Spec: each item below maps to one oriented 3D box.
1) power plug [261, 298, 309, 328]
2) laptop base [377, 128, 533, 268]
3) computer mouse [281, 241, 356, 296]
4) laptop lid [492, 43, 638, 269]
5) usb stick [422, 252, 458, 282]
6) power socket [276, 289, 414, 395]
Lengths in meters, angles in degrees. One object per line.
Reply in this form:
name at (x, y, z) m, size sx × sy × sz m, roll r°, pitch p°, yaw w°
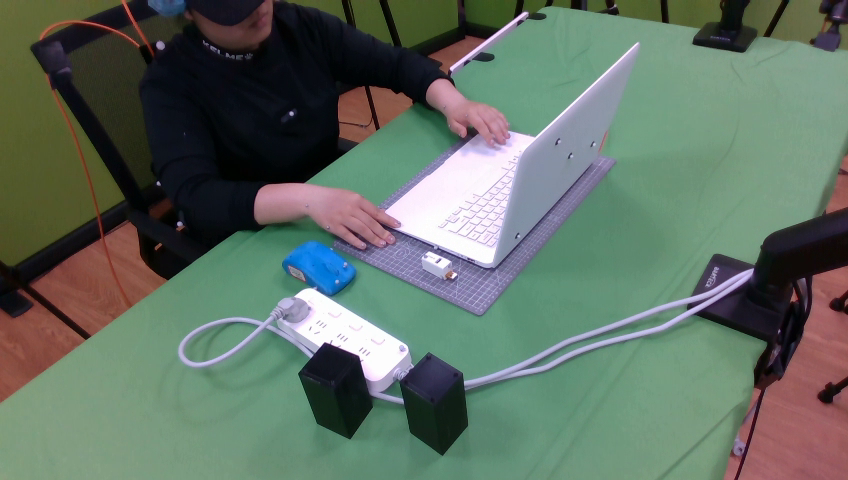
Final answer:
power plug at (-0.192, 0.107, 0.831) m, size 0.073 × 0.053 × 0.035 m, roll -32°, pitch 43°, yaw -25°
laptop base at (0.115, -0.088, 1.058) m, size 0.233 × 0.023 × 0.355 m, roll 20°, pitch 47°, yaw 33°
computer mouse at (-0.164, 0.041, 0.934) m, size 0.116 × 0.041 × 0.063 m, roll 27°, pitch 48°, yaw 28°
laptop lid at (0.216, -0.129, 0.912) m, size 0.013 × 0.242 × 0.358 m, roll 32°, pitch 51°, yaw 21°
usb stick at (0.025, 0.042, 0.908) m, size 0.058 × 0.027 × 0.021 m, roll 27°, pitch 48°, yaw 31°
power socket at (-0.115, 0.133, 0.820) m, size 0.225 × 0.033 × 0.072 m, roll 26°, pitch 49°, yaw 33°
